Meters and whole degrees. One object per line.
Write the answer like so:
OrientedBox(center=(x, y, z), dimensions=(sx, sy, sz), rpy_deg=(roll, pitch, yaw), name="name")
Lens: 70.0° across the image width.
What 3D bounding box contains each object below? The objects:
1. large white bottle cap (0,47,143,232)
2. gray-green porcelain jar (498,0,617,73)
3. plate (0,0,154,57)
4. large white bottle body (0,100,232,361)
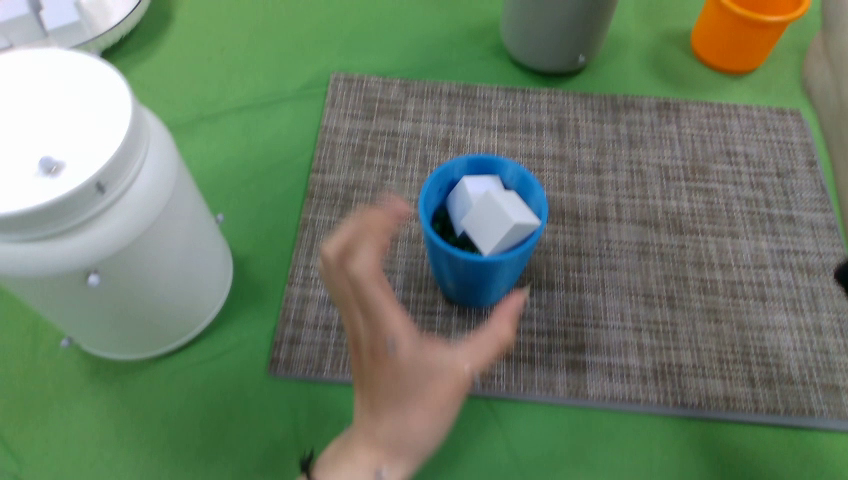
OrientedBox(center=(-0.208, -0.056, 0.316), dimensions=(0.115, 0.018, 0.114), rpy_deg=(1, 59, -1), name="large white bottle cap")
OrientedBox(center=(0.126, -0.230, 0.562), dimensions=(0.106, 0.127, 0.105), rpy_deg=(1, 60, -1), name="gray-green porcelain jar")
OrientedBox(center=(-0.369, -0.238, 0.599), dimensions=(0.208, 0.039, 0.206), rpy_deg=(1, 60, -2), name="plate")
OrientedBox(center=(-0.210, -0.012, 0.388), dimensions=(0.131, 0.186, 0.129), rpy_deg=(1, 60, -1), name="large white bottle body")
